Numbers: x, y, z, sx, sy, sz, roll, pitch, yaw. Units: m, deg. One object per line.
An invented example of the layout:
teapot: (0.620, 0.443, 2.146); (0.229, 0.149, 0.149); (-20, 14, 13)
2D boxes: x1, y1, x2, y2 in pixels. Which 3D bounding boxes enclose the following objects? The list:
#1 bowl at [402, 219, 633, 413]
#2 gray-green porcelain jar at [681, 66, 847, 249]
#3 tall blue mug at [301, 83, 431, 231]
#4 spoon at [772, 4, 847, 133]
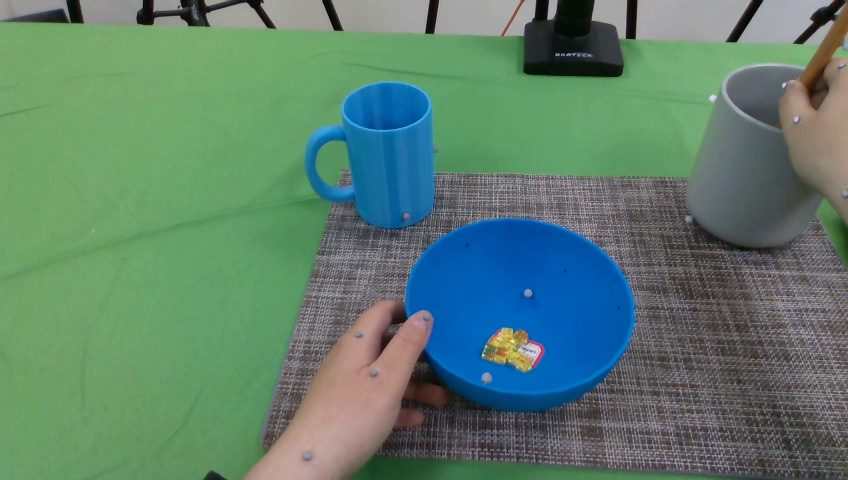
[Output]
bowl: (0.061, 0.064, 0.424); (0.151, 0.077, 0.150); (-1, 45, 1)
gray-green porcelain jar: (0.282, -0.063, 0.510); (0.106, 0.127, 0.105); (-1, 45, 1)
tall blue mug: (-0.045, -0.066, 0.535); (0.107, 0.109, 0.077); (-31, 53, -26)
spoon: (0.275, -0.087, 0.461); (0.021, 0.195, 0.041); (2, 48, 3)
